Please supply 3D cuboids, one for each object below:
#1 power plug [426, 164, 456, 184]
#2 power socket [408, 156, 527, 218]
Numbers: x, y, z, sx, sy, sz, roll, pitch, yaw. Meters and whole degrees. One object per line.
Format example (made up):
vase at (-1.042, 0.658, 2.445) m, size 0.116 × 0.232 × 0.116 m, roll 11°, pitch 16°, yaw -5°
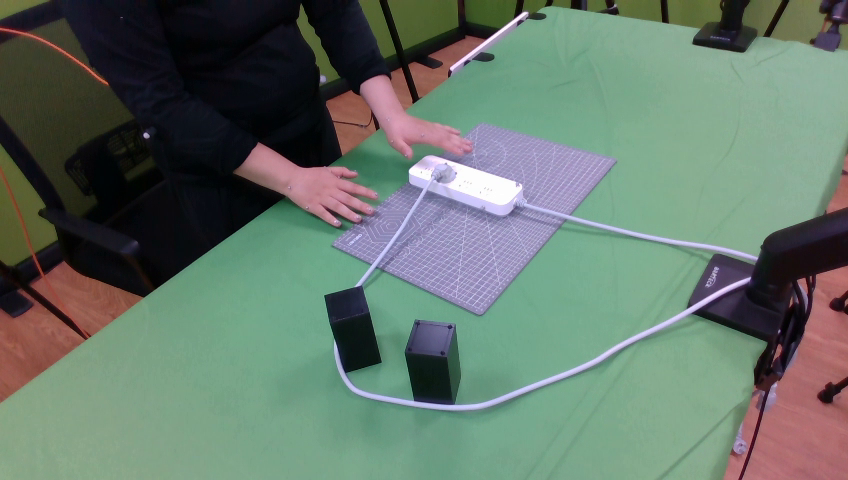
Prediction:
power plug at (0.024, -0.103, 1.047) m, size 0.073 × 0.053 × 0.035 m, roll -35°, pitch 47°, yaw -26°
power socket at (0.070, -0.096, 1.060) m, size 0.225 × 0.033 × 0.072 m, roll 22°, pitch 49°, yaw 30°
